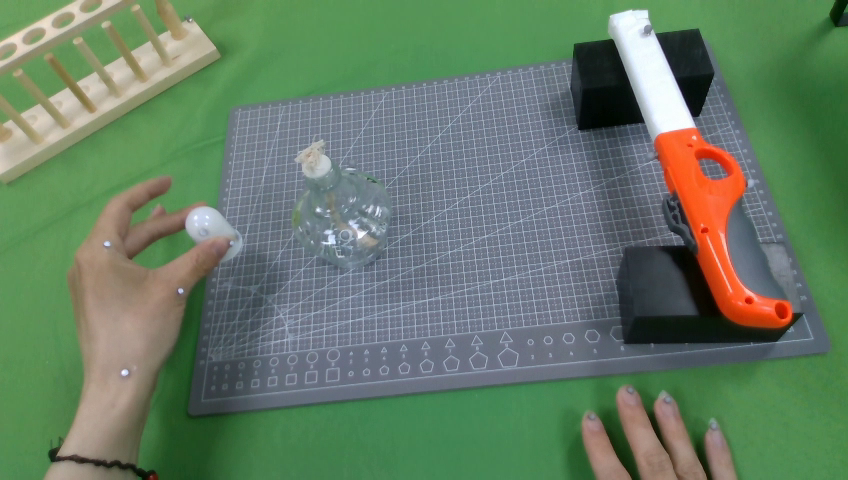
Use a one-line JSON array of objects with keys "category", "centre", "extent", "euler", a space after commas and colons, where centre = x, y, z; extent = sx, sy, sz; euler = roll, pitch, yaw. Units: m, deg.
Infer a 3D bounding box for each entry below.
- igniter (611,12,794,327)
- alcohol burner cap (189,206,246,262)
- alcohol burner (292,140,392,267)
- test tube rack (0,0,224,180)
[{"category": "igniter", "centre": [0.182, -0.064, 0.423], "extent": [0.057, 0.025, 0.274], "euler": [-10, 58, 5]}, {"category": "alcohol burner cap", "centre": [-0.162, -0.008, 0.469], "extent": [0.034, 0.048, 0.033], "euler": [-3, 61, 6]}, {"category": "alcohol burner", "centre": [-0.065, -0.030, 0.449], "extent": [0.078, 0.120, 0.077], "euler": [-4, 58, 7]}, {"category": "test tube rack", "centre": [-0.330, -0.167, 0.588], "extent": [0.242, 0.086, 0.066], "euler": [-35, 61, -11]}]
